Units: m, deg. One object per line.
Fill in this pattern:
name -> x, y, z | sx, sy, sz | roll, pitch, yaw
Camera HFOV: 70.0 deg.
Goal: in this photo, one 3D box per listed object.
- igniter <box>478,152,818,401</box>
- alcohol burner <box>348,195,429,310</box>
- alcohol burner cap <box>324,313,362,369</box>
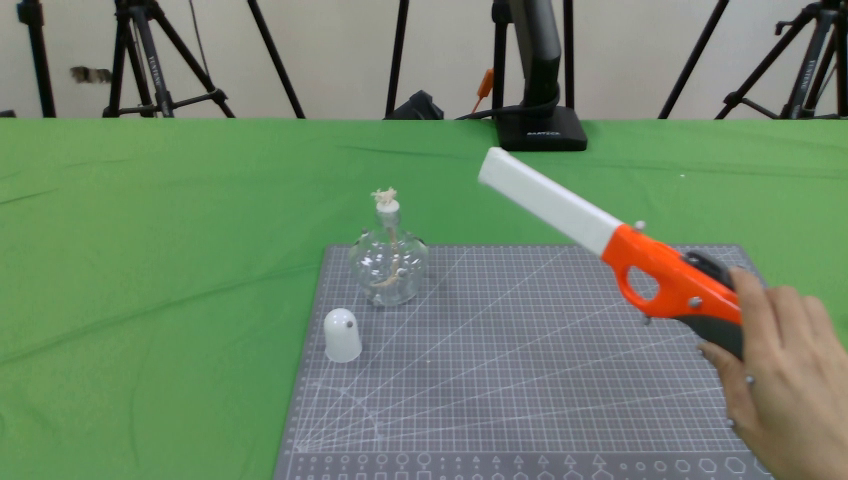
igniter -> 0.142, 0.011, 0.428 | 0.025, 0.057, 0.273 | -9, 38, -46
alcohol burner -> -0.033, 0.007, 0.565 | 0.078, 0.120, 0.077 | 1, 38, -1
alcohol burner cap -> -0.071, 0.083, 0.522 | 0.034, 0.048, 0.033 | 1, 37, 0
